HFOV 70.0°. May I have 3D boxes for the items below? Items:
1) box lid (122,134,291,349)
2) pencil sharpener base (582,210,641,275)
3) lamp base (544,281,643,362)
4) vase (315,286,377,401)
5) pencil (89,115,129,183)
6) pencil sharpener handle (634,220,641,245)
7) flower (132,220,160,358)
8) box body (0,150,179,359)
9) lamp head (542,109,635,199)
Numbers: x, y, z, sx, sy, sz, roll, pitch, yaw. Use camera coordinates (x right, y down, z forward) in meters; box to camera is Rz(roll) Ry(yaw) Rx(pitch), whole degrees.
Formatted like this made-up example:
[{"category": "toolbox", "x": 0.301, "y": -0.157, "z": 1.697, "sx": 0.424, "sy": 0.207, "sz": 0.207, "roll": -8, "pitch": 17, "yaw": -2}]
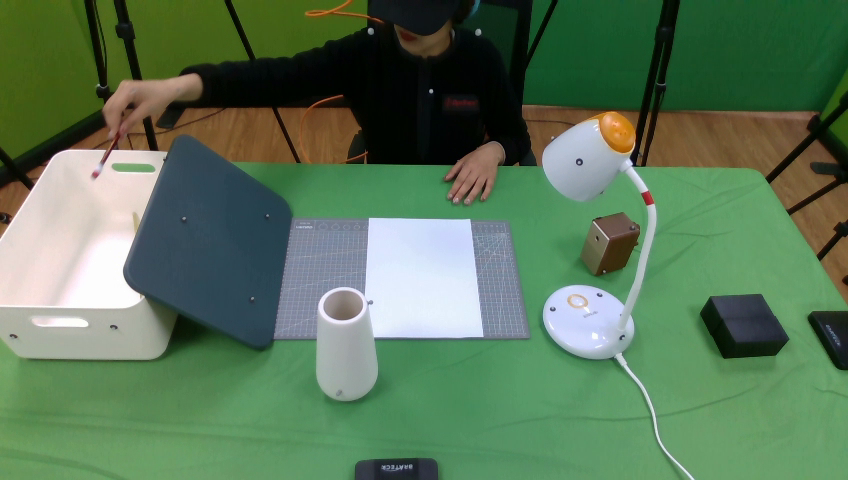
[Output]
[{"category": "box lid", "x": -0.355, "y": -0.008, "z": 1.060, "sx": 0.015, "sy": 0.265, "sz": 0.369, "roll": -33, "pitch": 39, "yaw": 26}, {"category": "pencil sharpener base", "x": 0.357, "y": 0.005, "z": 1.156, "sx": 0.077, "sy": 0.107, "sz": 0.061, "roll": -15, "pitch": 48, "yaw": -18}, {"category": "lamp base", "x": 0.304, "y": 0.095, "z": 1.014, "sx": 0.161, "sy": 0.181, "sz": 0.178, "roll": -24, "pitch": 54, "yaw": -24}, {"category": "vase", "x": -0.119, "y": 0.159, "z": 0.911, "sx": 0.098, "sy": 0.201, "sz": 0.097, "roll": 2, "pitch": 47, "yaw": -2}, {"category": "pencil", "x": -0.519, "y": -0.156, "z": 1.006, "sx": 0.012, "sy": 0.012, "sz": 0.193, "roll": 0, "pitch": 43, "yaw": -4}, {"category": "pencil sharpener handle", "x": 0.405, "y": -0.015, "z": 1.161, "sx": 0.031, "sy": 0.068, "sz": 0.035, "roll": -15, "pitch": 44, "yaw": -17}, {"category": "flower", "x": -0.506, "y": 0.071, "z": 1.093, "sx": 0.044, "sy": 0.038, "sz": 0.359, "roll": -37, "pitch": 45, "yaw": 6}, {"category": "box body", "x": -0.541, "y": 0.021, "z": 1.042, "sx": 0.254, "sy": 0.161, "sz": 0.361, "roll": 1, "pitch": 46, "yaw": -3}, {"category": "lamp head", "x": 0.253, "y": -0.131, "z": 0.893, "sx": 0.113, "sy": 0.123, "sz": 0.112, "roll": 10, "pitch": 66, "yaw": -24}]
